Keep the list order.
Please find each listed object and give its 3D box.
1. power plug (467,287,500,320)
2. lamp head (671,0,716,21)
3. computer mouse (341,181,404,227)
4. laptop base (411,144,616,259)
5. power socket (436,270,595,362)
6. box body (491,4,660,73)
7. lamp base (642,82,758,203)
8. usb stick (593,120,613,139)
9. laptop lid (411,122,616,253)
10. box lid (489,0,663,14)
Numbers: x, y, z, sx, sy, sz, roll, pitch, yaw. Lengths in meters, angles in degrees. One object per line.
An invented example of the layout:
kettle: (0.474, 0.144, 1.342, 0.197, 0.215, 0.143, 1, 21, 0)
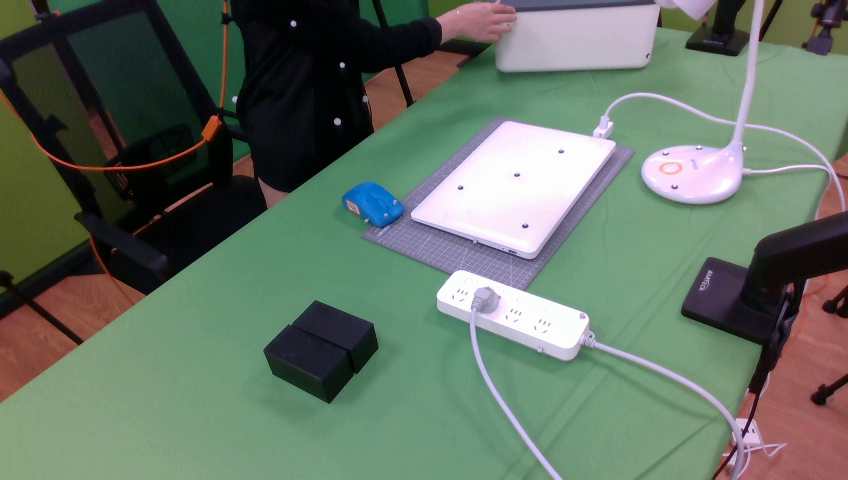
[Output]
power plug: (0.073, 0.092, 0.814, 0.035, 0.053, 0.073, 29, 54, 34)
lamp head: (0.375, -0.373, 0.807, 0.122, 0.113, 0.112, -40, 27, 32)
computer mouse: (-0.091, -0.066, 1.052, 0.063, 0.041, 0.116, -33, 48, -29)
laptop base: (0.168, -0.102, 1.073, 0.234, 0.023, 0.355, 17, 46, 31)
power socket: (0.118, 0.101, 0.832, 0.225, 0.033, 0.072, 19, 48, 27)
box body: (0.347, -0.521, 1.429, 0.363, 0.161, 0.253, 1, 41, 9)
lamp base: (0.464, -0.174, 0.993, 0.179, 0.181, 0.159, -5, 41, -2)
usb stick: (0.336, -0.201, 1.147, 0.021, 0.027, 0.059, 26, 53, 27)
laptop lid: (0.165, -0.111, 1.067, 0.240, 0.013, 0.357, 19, 46, 31)
box lid: (0.341, -0.576, 1.380, 0.371, 0.015, 0.262, 0, 41, 10)
